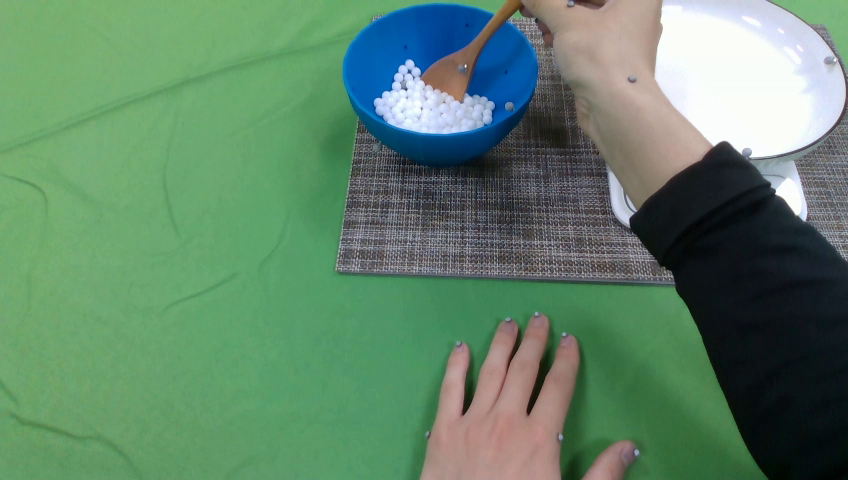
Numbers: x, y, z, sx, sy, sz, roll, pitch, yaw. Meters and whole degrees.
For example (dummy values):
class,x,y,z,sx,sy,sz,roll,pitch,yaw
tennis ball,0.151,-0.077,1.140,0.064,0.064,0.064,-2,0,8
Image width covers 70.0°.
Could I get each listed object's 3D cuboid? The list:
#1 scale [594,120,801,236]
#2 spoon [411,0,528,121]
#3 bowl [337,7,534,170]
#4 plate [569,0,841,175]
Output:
class,x,y,z,sx,sy,sz,roll,pitch,yaw
scale,0.219,-0.092,0.507,0.148,0.032,0.199,1,57,2
spoon,0.049,-0.154,0.452,0.022,0.194,0.041,-21,78,-41
bowl,0.009,-0.110,0.493,0.151,0.077,0.150,0,56,1
plate,0.220,-0.130,0.493,0.209,0.038,0.207,0,57,0
